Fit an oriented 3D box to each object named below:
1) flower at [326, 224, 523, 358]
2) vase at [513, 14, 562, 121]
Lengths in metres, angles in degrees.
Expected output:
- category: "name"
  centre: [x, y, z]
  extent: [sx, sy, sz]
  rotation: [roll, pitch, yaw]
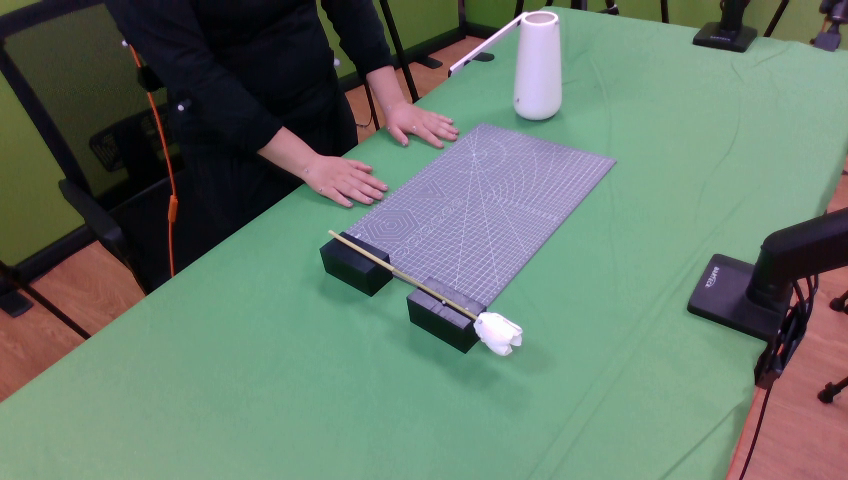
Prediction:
- category: "flower"
  centre: [-0.018, 0.054, 0.835]
  extent: [0.359, 0.038, 0.044]
  rotation: [30, 83, 32]
- category: "vase"
  centre: [0.225, -0.336, 1.196]
  extent: [0.098, 0.201, 0.097]
  rotation: [-5, 42, 5]
